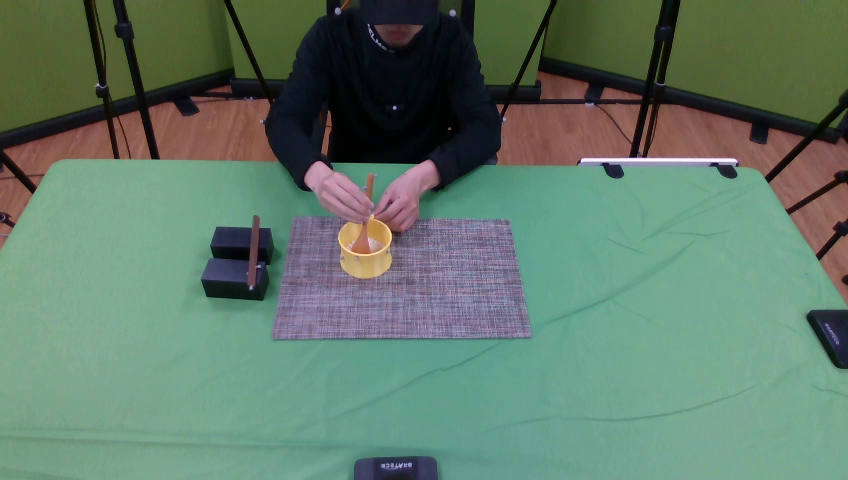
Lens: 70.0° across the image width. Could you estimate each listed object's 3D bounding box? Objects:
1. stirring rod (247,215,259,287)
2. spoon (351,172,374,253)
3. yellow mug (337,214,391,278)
[{"bbox_3d":[-0.309,0.016,1.097,0.014,0.006,0.175,24,36,-31],"label":"stirring rod"},{"bbox_3d":[-0.107,-0.036,1.093,0.041,0.194,0.021,15,28,9],"label":"spoon"},{"bbox_3d":[-0.110,0.003,1.152,0.100,0.064,0.130,7,45,2],"label":"yellow mug"}]
